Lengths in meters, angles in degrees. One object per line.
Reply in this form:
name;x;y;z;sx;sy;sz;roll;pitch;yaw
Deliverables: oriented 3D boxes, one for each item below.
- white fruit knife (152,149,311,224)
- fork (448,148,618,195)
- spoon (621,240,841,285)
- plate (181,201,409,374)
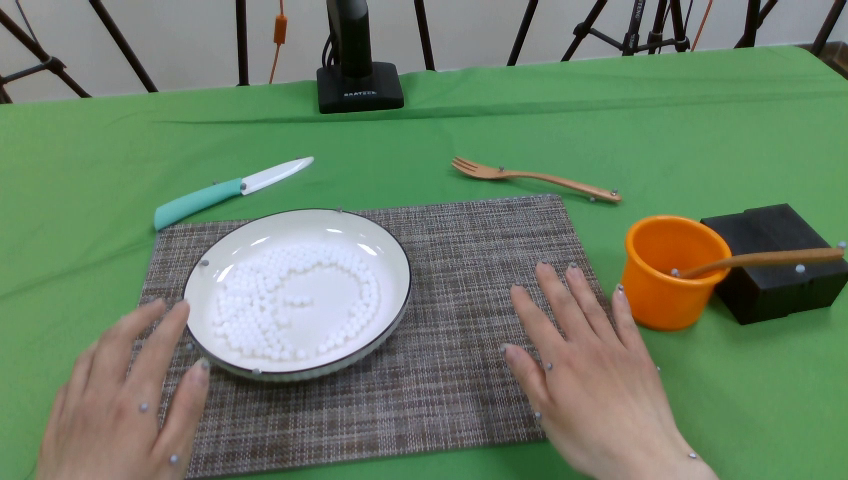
white fruit knife;-0.221;-0.070;0.712;0.207;0.016;0.027;-28;74;-31
fork;0.127;-0.081;0.722;0.206;0.019;0.028;13;39;15
spoon;0.252;0.018;0.524;0.041;0.193;0.021;-32;96;-32
plate;-0.116;0.042;0.572;0.209;0.038;0.207;0;43;0
